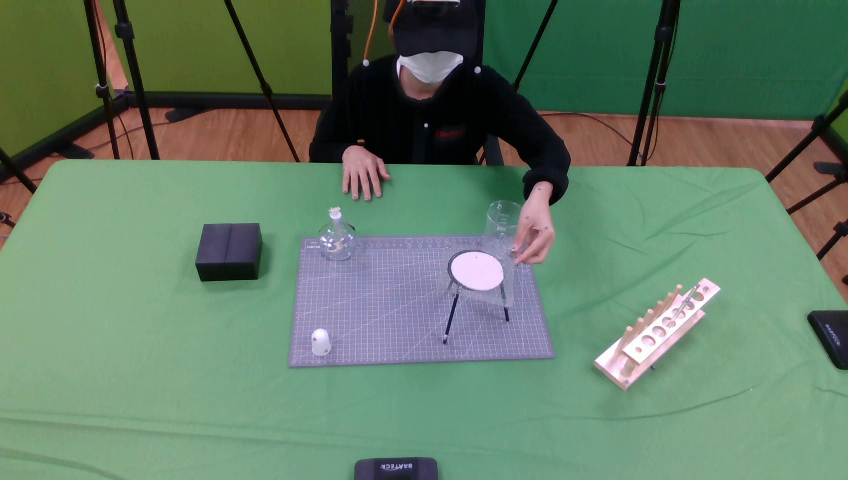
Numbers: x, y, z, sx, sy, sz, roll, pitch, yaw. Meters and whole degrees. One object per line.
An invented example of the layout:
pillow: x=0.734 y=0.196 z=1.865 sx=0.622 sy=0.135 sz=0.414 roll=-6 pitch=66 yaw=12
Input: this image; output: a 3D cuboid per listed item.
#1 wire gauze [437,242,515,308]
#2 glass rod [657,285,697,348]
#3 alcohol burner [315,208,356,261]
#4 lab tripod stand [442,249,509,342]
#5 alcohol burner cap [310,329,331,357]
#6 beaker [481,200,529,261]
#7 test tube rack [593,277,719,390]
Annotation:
wire gauze: x=0.087 y=0.051 z=0.981 sx=0.125 sy=0.011 sz=0.121 roll=11 pitch=44 yaw=2
glass rod: x=0.401 y=0.128 z=0.971 sx=0.008 sy=0.201 sz=0.008 roll=0 pitch=53 yaw=1
alcohol burner: x=-0.166 y=-0.017 z=1.135 sx=0.078 sy=0.119 sz=0.077 roll=2 pitch=48 yaw=-2
lab tripod stand: x=0.081 y=0.091 z=1.036 sx=0.148 sy=0.132 sz=0.147 roll=3 pitch=44 yaw=-3
alcohol burner cap: x=-0.173 y=0.168 z=1.004 sx=0.034 sy=0.048 sz=0.033 roll=2 pitch=46 yaw=-2
beaker: x=0.153 y=-0.016 z=1.169 sx=0.084 sy=0.101 sz=0.073 roll=-2 pitch=46 yaw=-7
test tube rack: x=0.401 y=0.148 z=1.043 sx=0.242 sy=0.085 sz=0.066 roll=-30 pitch=55 yaw=-29
